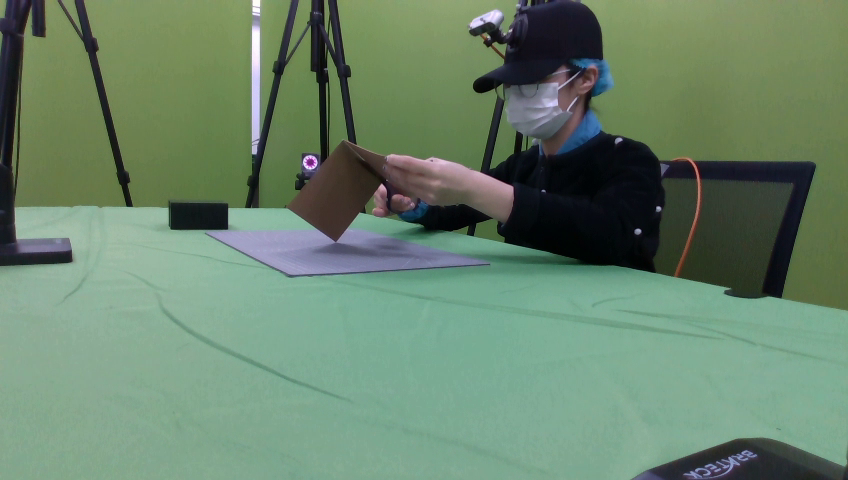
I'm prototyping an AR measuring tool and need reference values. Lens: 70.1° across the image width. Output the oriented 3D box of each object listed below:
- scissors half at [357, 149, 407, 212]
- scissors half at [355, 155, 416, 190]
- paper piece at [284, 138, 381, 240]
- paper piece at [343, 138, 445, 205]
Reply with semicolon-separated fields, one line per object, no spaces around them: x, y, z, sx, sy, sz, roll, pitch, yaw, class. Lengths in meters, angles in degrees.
-0.072;-0.100;1.022;0.012;0.040;0.176;19;-23;34;scissors half
-0.063;-0.119;1.026;0.013;0.040;0.176;14;0;33;scissors half
-0.139;-0.078;0.968;0.004;0.135;0.136;36;-3;35;paper piece
-0.046;-0.106;0.929;0.137;0.008;0.137;31;1;38;paper piece
